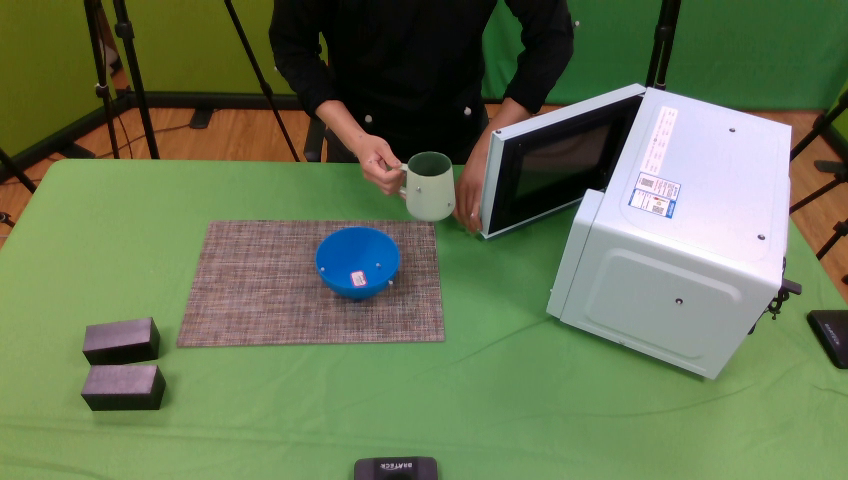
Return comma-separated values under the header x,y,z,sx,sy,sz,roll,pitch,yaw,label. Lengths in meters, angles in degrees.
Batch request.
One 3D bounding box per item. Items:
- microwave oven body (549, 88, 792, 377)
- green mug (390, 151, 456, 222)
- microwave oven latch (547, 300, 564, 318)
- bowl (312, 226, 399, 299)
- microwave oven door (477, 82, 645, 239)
x,y,z,sx,sy,sz,roll,pitch,yaw,label
0.456,-0.028,1.088,0.325,0.261,0.440,20,47,16,microwave oven body
-0.005,-0.100,1.097,0.125,0.105,0.092,15,45,19,green mug
0.242,0.102,1.081,0.030,0.029,0.079,21,48,17,microwave oven latch
-0.120,0.054,1.091,0.151,0.077,0.150,2,46,-2,bowl
0.270,-0.157,1.191,0.356,0.245,0.039,-22,50,-23,microwave oven door
